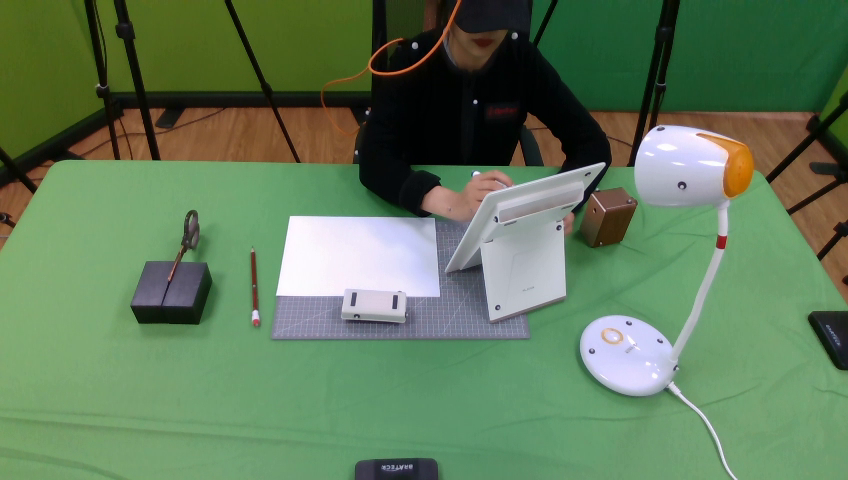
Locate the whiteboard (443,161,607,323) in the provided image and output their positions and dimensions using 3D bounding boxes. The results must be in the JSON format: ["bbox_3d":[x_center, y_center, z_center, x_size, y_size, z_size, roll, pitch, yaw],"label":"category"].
[{"bbox_3d":[0.185,0.025,1.029,0.217,0.306,0.143,-15,68,-18],"label":"whiteboard"}]

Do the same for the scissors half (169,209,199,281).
[{"bbox_3d":[-0.437,0.007,1.098,0.013,0.040,0.174,3,48,-3],"label":"scissors half"}]

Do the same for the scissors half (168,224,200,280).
[{"bbox_3d":[-0.440,0.023,1.111,0.013,0.040,0.174,7,29,-6],"label":"scissors half"}]

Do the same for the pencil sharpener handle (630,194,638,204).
[{"bbox_3d":[0.417,-0.068,1.215,0.031,0.068,0.036,-11,60,-14],"label":"pencil sharpener handle"}]

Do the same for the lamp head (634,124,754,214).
[{"bbox_3d":[0.351,-0.089,0.776,0.112,0.113,0.122,-30,30,-28],"label":"lamp head"}]

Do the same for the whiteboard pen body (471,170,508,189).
[{"bbox_3d":[0.138,-0.099,1.109,0.017,0.017,0.140,-29,42,-28],"label":"whiteboard pen body"}]

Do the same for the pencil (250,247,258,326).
[{"bbox_3d":[-0.312,0.079,1.107,0.012,0.012,0.192,-7,46,-11],"label":"pencil"}]

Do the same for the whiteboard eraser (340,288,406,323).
[{"bbox_3d":[-0.088,0.117,1.060,0.113,0.042,0.055,3,45,-1],"label":"whiteboard eraser"}]

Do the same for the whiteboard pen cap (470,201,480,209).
[{"bbox_3d":[0.113,-0.073,1.279,0.033,0.018,0.018,4,46,6],"label":"whiteboard pen cap"}]

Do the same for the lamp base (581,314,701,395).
[{"bbox_3d":[0.361,0.144,0.973,0.178,0.181,0.160,34,53,23],"label":"lamp base"}]

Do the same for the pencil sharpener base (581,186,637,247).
[{"bbox_3d":[0.369,-0.047,1.209,0.077,0.107,0.061,-11,47,-15],"label":"pencil sharpener base"}]
